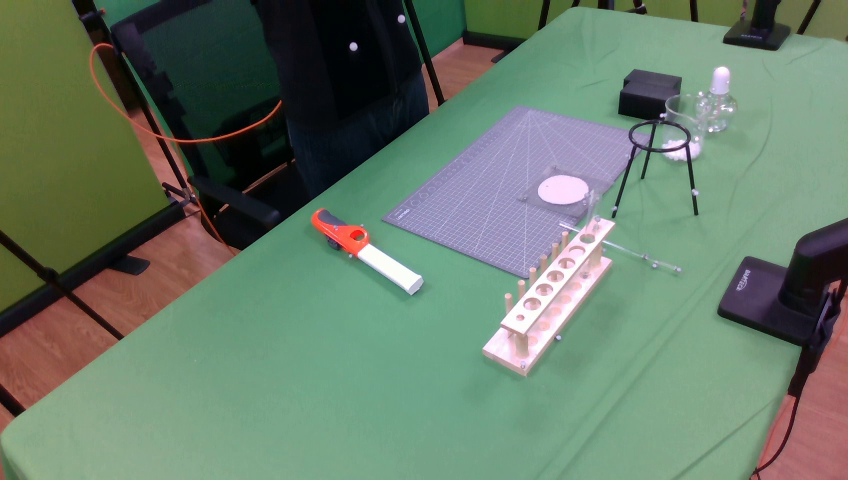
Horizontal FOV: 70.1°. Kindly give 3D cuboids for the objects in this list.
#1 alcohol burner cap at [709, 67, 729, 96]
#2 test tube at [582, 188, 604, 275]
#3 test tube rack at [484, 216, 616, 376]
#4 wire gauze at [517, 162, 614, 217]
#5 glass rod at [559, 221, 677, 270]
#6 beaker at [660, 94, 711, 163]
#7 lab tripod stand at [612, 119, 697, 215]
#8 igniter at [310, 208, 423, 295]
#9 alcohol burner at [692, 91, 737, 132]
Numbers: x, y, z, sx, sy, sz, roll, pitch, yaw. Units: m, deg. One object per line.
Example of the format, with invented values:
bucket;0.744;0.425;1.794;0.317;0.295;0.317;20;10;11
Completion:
alcohol burner cap;0.535;-0.288;1.094;0.034;0.048;0.033;-8;42;8
test tube;0.229;-0.007;0.821;0.017;0.151;0.017;-3;42;3
test tube rack;0.174;0.064;0.823;0.066;0.085;0.243;23;49;32
wire gauze;0.245;-0.088;1.046;0.120;0.011;0.125;25;50;32
glass rod;0.292;0.007;0.927;0.198;0.008;0.008;26;52;36
beaker;0.457;-0.192;1.063;0.074;0.101;0.083;-7;41;4
lab tripod stand;0.369;-0.112;0.958;0.148;0.132;0.147;-4;40;4
igniter;-0.104;0.012;0.981;0.057;0.025;0.274;-42;49;-20
alcohol burner;0.541;-0.262;1.118;0.078;0.119;0.077;-5;42;5
